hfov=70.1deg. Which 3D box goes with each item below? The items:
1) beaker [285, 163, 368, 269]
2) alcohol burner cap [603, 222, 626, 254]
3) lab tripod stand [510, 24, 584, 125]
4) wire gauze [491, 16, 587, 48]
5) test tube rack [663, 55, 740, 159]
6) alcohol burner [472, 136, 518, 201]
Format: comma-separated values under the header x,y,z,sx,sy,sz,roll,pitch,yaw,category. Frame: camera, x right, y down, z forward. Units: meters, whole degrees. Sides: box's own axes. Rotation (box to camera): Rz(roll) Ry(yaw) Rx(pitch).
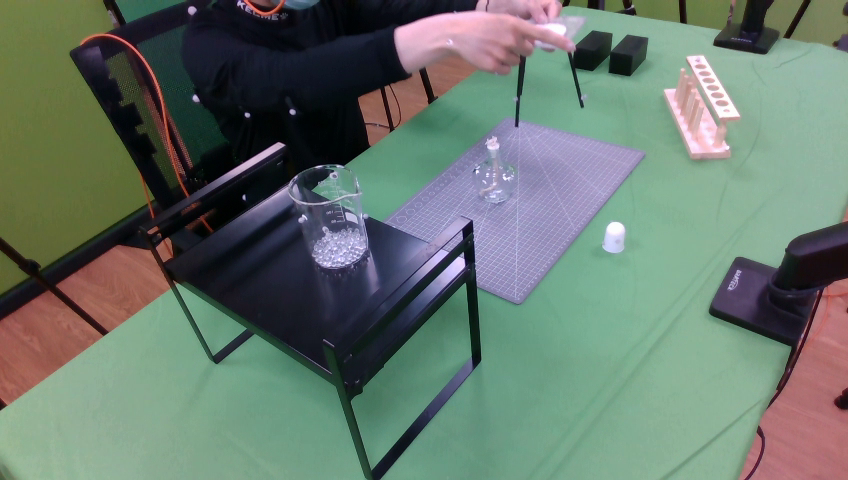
x,y,z,sx,sy,sz,roll,pitch,yaw,category
-0.102,-0.024,0.676,0.083,0.101,0.074,8,44,16,beaker
0.291,-0.006,0.921,0.034,0.048,0.033,-4,40,4,alcohol burner cap
0.188,-0.279,1.000,0.148,0.132,0.147,-8,36,6,lab tripod stand
0.182,-0.331,0.960,0.124,0.011,0.121,11,40,30,wire gauze
0.518,-0.256,1.144,0.066,0.085,0.241,-1,41,8,test tube rack
0.121,-0.125,1.023,0.078,0.119,0.077,-3,42,3,alcohol burner
